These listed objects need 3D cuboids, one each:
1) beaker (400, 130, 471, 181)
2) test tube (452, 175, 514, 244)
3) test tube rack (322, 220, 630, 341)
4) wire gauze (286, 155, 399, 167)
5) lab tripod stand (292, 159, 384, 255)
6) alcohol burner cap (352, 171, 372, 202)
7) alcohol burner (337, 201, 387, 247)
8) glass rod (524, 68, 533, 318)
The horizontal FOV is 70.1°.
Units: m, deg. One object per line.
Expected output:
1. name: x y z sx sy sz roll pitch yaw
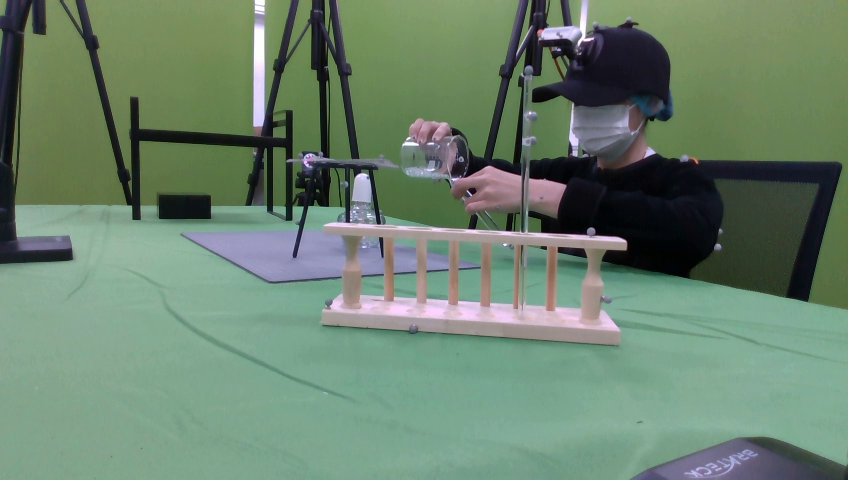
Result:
1. beaker: 0.017 -0.141 1.010 0.100 0.084 0.074 6 -2 33
2. test tube: 0.092 -0.048 0.953 0.017 0.017 0.149 -6 49 -48
3. test tube rack: 0.041 0.029 0.512 0.242 0.085 0.067 3 7 5
4. wire gauze: -0.101 -0.105 0.788 0.121 0.011 0.125 4 6 6
5. lab tripod stand: -0.105 -0.039 0.797 0.148 0.131 0.148 2 5 0
6. alcohol burner cap: -0.096 -0.084 0.951 0.034 0.048 0.034 6 5 0
7. alcohol burner: -0.098 -0.049 0.954 0.078 0.119 0.078 0 7 0
8. glass rod: 0.082 -0.031 0.473 0.008 0.199 0.008 -2 14 1
